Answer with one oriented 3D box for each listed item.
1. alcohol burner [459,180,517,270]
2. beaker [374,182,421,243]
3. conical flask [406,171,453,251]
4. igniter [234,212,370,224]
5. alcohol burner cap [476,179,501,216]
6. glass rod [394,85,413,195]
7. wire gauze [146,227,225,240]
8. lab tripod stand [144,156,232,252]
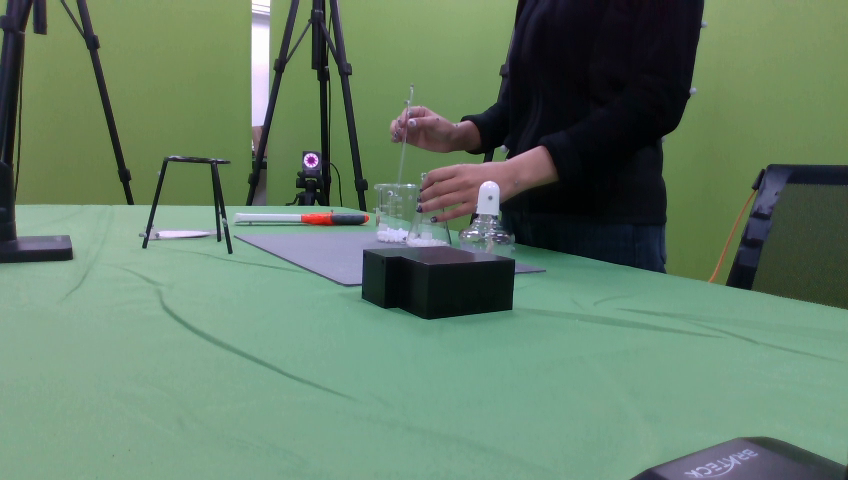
[{"bbox_3d":[0.086,-0.021,0.805,0.078,0.119,0.078,3,9,0],"label":"alcohol burner"},{"bbox_3d":[-0.049,-0.048,1.031,0.083,0.100,0.074,5,7,24],"label":"beaker"},{"bbox_3d":[0.010,-0.046,0.948,0.075,0.122,0.075,2,8,0],"label":"conical flask"},{"bbox_3d":[-0.247,-0.046,1.253,0.278,0.025,0.057,-1,-3,-27],"label":"igniter"},{"bbox_3d":[0.086,-0.057,0.801,0.034,0.048,0.034,4,2,0],"label":"alcohol burner cap"},{"bbox_3d":[-0.035,-0.175,1.045,0.008,0.199,0.008,7,-10,2],"label":"glass rod"},{"bbox_3d":[-0.400,-0.012,1.019,0.122,0.011,0.124,-1,6,-26],"label":"wire gauze"},{"bbox_3d":[-0.325,-0.054,0.881,0.148,0.131,0.148,4,7,0],"label":"lab tripod stand"}]
